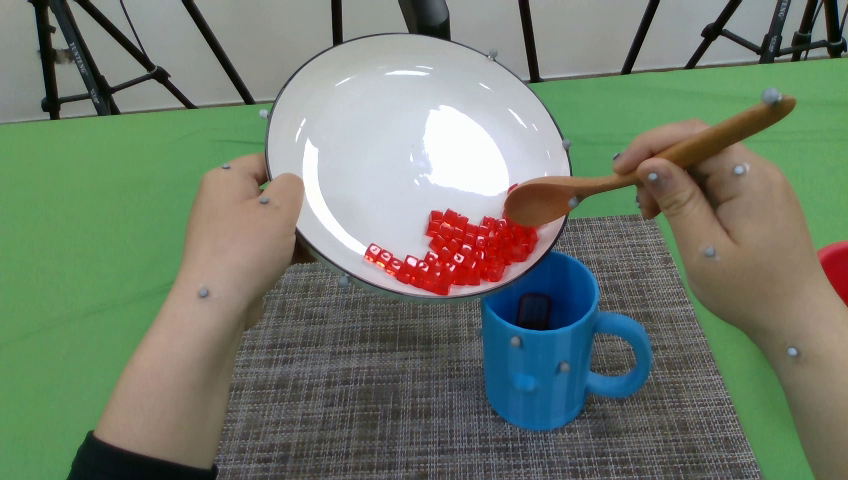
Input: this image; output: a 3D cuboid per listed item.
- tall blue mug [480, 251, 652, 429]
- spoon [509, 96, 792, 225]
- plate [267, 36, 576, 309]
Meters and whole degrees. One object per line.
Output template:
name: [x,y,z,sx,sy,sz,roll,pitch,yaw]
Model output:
tall blue mug: [0.095,0.069,0.425,0.107,0.109,0.077,-8,41,-1]
spoon: [0.106,-0.035,0.326,0.042,0.193,0.021,26,73,-18]
plate: [0.000,-0.048,0.415,0.208,0.039,0.206,5,64,-11]
